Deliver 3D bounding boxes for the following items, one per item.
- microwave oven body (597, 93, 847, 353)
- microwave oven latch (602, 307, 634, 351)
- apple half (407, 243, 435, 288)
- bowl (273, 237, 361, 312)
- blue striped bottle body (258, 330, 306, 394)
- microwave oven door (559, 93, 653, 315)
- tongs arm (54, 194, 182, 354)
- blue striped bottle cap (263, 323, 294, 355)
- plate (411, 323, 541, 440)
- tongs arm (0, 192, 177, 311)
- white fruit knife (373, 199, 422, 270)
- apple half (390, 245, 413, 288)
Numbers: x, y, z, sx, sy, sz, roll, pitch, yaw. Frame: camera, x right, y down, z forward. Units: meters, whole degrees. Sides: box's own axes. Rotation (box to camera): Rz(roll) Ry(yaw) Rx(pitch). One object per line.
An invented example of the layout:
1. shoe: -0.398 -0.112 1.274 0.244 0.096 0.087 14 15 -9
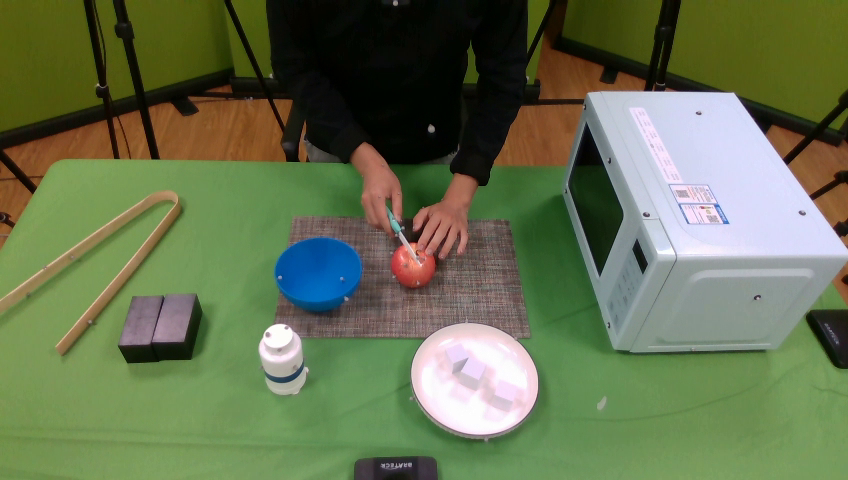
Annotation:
1. microwave oven body: 0.475 -0.041 1.109 0.326 0.261 0.438 -1 45 -4
2. microwave oven latch: 0.332 0.153 1.044 0.030 0.029 0.078 -1 45 -4
3. apple half: -0.008 0.047 1.115 0.053 0.075 0.080 -6 43 -16
4. bowl: -0.186 0.075 1.069 0.151 0.077 0.150 3 46 -3
5. blue striped bottle body: -0.220 0.182 0.937 0.063 0.121 0.062 2 45 -2
6. microwave oven door: 0.327 -0.074 1.123 0.039 0.245 0.353 -1 46 -5
7. tongs arm: -0.543 0.048 1.107 0.028 0.028 0.385 11 46 10
8. blue striped bottle cap: -0.217 0.146 0.900 0.044 0.021 0.044 1 46 -1
9. plate: 0.082 0.228 0.976 0.208 0.039 0.206 2 45 -2
10. tongs arm: -0.618 0.019 1.123 0.050 0.026 0.384 24 47 17
11. white fruit knife: -0.048 -0.015 1.105 0.016 0.027 0.206 -20 47 -17
12. apple half: -0.046 0.053 1.105 0.033 0.081 0.080 -7 46 -16
